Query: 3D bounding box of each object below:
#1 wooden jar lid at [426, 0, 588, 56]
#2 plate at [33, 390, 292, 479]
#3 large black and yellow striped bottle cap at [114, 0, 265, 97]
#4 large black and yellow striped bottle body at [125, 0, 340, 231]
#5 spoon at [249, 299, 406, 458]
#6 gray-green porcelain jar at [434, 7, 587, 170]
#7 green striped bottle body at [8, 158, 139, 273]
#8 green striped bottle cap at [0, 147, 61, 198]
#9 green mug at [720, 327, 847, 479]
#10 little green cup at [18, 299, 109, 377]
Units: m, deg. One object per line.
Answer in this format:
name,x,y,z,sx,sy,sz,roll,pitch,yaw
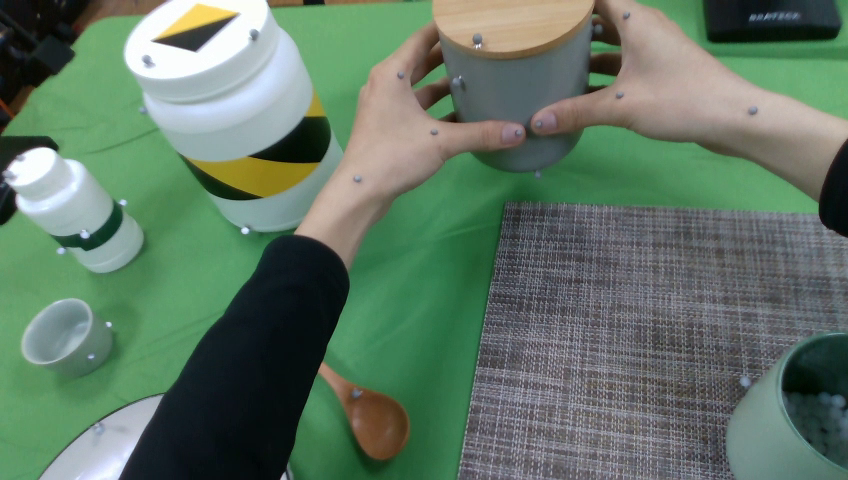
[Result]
wooden jar lid,0.056,-0.159,0.410,0.108,0.021,0.107,-6,59,10
plate,-0.182,0.205,0.406,0.209,0.038,0.207,-6,55,8
large black and yellow striped bottle cap,-0.177,-0.154,0.459,0.115,0.019,0.114,-6,54,8
large black and yellow striped bottle body,-0.160,-0.108,0.527,0.130,0.186,0.129,-6,55,9
spoon,-0.082,0.097,0.468,0.192,0.022,0.041,36,83,30
gray-green porcelain jar,0.068,-0.125,0.461,0.106,0.128,0.105,-5,56,9
green striped bottle body,-0.318,-0.026,0.545,0.063,0.120,0.062,-6,54,9
green striped bottle cap,-0.328,-0.056,0.504,0.044,0.020,0.044,-4,57,7
green mug,0.237,0.113,0.331,0.124,0.106,0.092,25,63,26
little green cup,-0.303,0.086,0.515,0.061,0.039,0.061,-6,54,8
